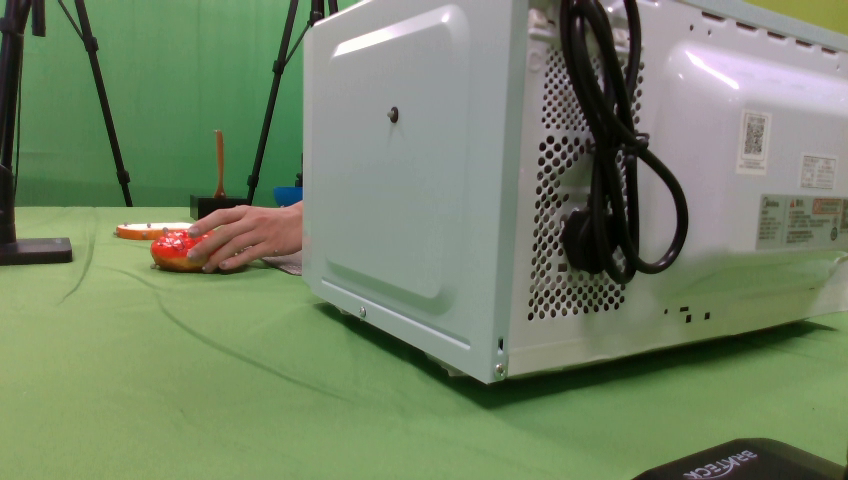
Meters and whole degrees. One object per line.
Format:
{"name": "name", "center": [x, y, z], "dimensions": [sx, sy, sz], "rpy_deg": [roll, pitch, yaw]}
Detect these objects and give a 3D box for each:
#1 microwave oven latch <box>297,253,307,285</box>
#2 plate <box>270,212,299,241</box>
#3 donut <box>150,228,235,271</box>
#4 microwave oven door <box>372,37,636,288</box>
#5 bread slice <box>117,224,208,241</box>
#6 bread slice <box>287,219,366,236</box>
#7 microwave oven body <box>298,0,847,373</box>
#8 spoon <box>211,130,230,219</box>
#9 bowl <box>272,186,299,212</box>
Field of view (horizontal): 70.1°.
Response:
{"name": "microwave oven latch", "center": [-0.082, 0.027, 0.582], "dimensions": [0.079, 0.029, 0.030], "rpy_deg": [-1, 7, -32]}
{"name": "plate", "center": [-0.162, -0.022, 1.058], "dimensions": [0.208, 0.039, 0.207], "rpy_deg": [3, 7, 0]}
{"name": "donut", "center": [-0.286, 0.012, 0.749], "dimensions": [0.099, 0.048, 0.099], "rpy_deg": [2, 11, 0]}
{"name": "microwave oven door", "center": [0.110, -0.080, 0.686], "dimensions": [0.358, 0.243, 0.039], "rpy_deg": [-2, 9, -33]}
{"name": "bread slice", "center": [-0.443, -0.014, 1.022], "dimensions": [0.132, 0.019, 0.104], "rpy_deg": [-3, 8, -45]}
{"name": "bread slice", "center": [-0.170, -0.023, 1.056], "dimensions": [0.134, 0.018, 0.107], "rpy_deg": [1, 7, -6]}
{"name": "microwave oven body", "center": [0.151, -0.055, 0.542], "dimensions": [0.444, 0.260, 0.324], "rpy_deg": [-1, 7, -33]}
{"name": "spoon", "center": [-0.436, -0.138, 1.296], "dimensions": [0.042, 0.193, 0.021], "rpy_deg": [-3, 23, -27]}
{"name": "bowl", "center": [-0.254, -0.076, 1.318], "dimensions": [0.151, 0.077, 0.151], "rpy_deg": [2, 8, 0]}
